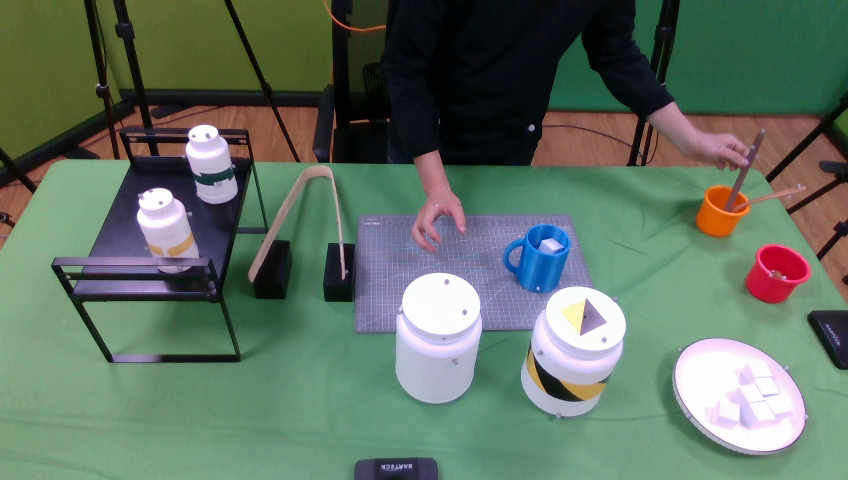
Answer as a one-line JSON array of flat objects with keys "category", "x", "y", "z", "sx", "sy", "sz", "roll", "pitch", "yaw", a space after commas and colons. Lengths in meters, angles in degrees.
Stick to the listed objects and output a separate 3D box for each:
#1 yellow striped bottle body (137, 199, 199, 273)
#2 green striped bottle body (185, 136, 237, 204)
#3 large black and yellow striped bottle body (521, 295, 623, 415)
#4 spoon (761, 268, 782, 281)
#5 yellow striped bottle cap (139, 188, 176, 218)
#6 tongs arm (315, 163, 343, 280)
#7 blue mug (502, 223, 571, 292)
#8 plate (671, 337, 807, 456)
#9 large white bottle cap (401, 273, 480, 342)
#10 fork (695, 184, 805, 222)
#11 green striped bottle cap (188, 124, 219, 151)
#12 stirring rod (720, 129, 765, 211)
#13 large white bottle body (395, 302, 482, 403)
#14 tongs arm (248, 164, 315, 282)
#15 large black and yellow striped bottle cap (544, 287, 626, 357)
[{"category": "yellow striped bottle body", "x": -0.366, "y": -0.014, "z": 0.863, "sx": 0.063, "sy": 0.121, "sz": 0.062, "roll": 2, "pitch": 46, "yaw": -2}, {"category": "green striped bottle body", "x": -0.341, "y": -0.121, "z": 0.969, "sx": 0.063, "sy": 0.120, "sz": 0.063, "roll": 2, "pitch": 46, "yaw": -2}, {"category": "large black and yellow striped bottle body", "x": 0.228, "y": 0.173, "z": 0.938, "sx": 0.131, "sy": 0.185, "sz": 0.130, "roll": 2, "pitch": 47, "yaw": -2}, {"category": "spoon", "x": 0.638, "y": 0.060, "z": 1.105, "sx": 0.041, "sy": 0.021, "sz": 0.194, "roll": 37, "pitch": 11, "yaw": 24}, {"category": "yellow striped bottle cap", "x": -0.363, "y": -0.051, "z": 0.826, "sx": 0.044, "sy": 0.019, "sz": 0.044, "roll": 1, "pitch": 48, "yaw": 0}, {"category": "tongs arm", "x": -0.187, "y": -0.049, "z": 1.170, "sx": 0.051, "sy": 0.026, "sz": 0.382, "roll": -6, "pitch": 35, "yaw": -6}, {"category": "blue mug", "x": 0.203, "y": 0.031, "z": 1.121, "sx": 0.116, "sy": 0.106, "sz": 0.082, "roll": 5, "pitch": 47, "yaw": 1}, {"category": "plate", "x": 0.503, "y": 0.254, "z": 0.984, "sx": 0.208, "sy": 0.039, "sz": 0.206, "roll": 2, "pitch": 46, "yaw": -2}, {"category": "large white bottle cap", "x": 0.024, "y": 0.095, "z": 0.878, "sx": 0.115, "sy": 0.018, "sz": 0.114, "roll": 2, "pitch": 47, "yaw": -2}, {"category": "fork", "x": 0.657, "y": -0.074, "z": 1.230, "sx": 0.207, "sy": 0.019, "sz": 0.028, "roll": -23, "pitch": 32, "yaw": 37}, {"category": "green striped bottle cap", "x": -0.339, "y": -0.158, "z": 0.931, "sx": 0.044, "sy": 0.020, "sz": 0.044, "roll": 4, "pitch": 46, "yaw": -3}, {"category": "stirring rod", "x": 0.642, "y": -0.140, "z": 1.222, "sx": 0.006, "sy": 0.176, "sz": 0.014, "roll": 13, "pitch": 13, "yaw": -45}, {"category": "large white bottle body", "x": 0.020, "y": 0.153, "z": 0.940, "sx": 0.131, "sy": 0.185, "sz": 0.130, "roll": 2, "pitch": 46, "yaw": -2}, {"category": "tongs arm", "x": -0.269, "y": -0.047, "z": 1.166, "sx": 0.028, "sy": 0.028, "sz": 0.385, "roll": -1, "pitch": 34, "yaw": 7}, {"category": "large black and yellow striped bottle cap", "x": 0.232, "y": 0.116, "z": 0.876, "sx": 0.115, "sy": 0.019, "sz": 0.114, "roll": 2, "pitch": 46, "yaw": -1}]
